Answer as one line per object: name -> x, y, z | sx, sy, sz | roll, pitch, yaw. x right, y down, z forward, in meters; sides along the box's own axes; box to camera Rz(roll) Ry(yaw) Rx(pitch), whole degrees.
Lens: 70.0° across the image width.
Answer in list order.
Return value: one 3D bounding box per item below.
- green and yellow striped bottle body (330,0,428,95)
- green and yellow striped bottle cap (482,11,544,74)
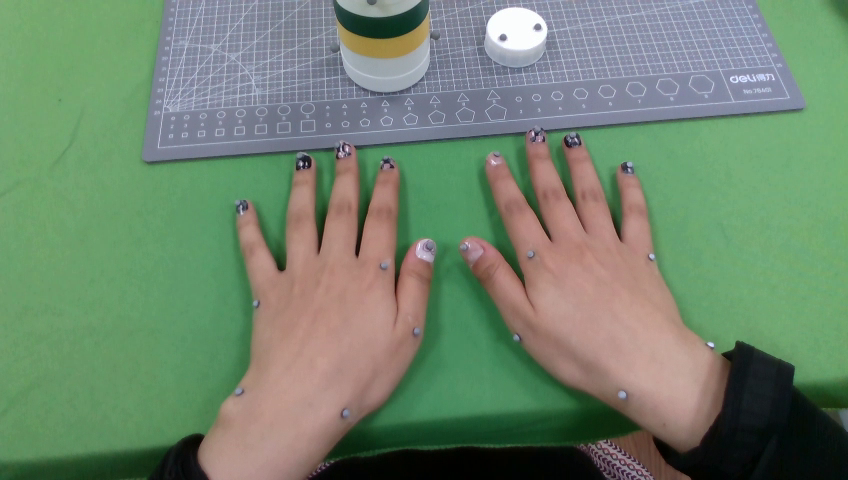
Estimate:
green and yellow striped bottle body -> -0.029, -0.155, 0.384 | 0.063, 0.120, 0.062 | 0, 62, 1
green and yellow striped bottle cap -> 0.064, -0.144, 0.438 | 0.045, 0.020, 0.045 | 0, 64, 0
